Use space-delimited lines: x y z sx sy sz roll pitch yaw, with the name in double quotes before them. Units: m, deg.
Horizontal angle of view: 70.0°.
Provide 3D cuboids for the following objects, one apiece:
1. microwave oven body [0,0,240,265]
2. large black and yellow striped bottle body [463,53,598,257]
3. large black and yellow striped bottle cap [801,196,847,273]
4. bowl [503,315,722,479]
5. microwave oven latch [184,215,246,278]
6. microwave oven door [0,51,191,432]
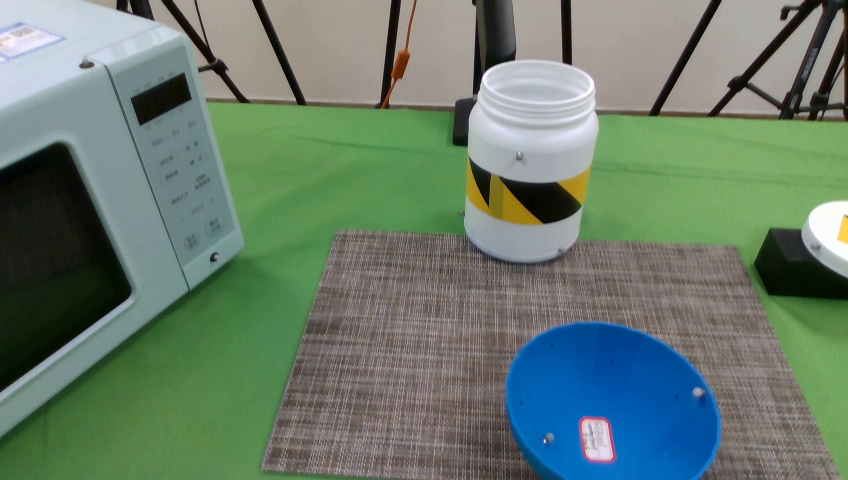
"microwave oven body" -0.442 -0.022 0.507 0.324 0.262 0.440 23 47 23
"large black and yellow striped bottle body" 0.109 -0.089 0.640 0.131 0.185 0.129 0 38 0
"large black and yellow striped bottle cap" 0.436 -0.003 0.595 0.115 0.019 0.114 -1 40 1
"bowl" 0.133 0.138 0.459 0.151 0.077 0.150 0 41 1
"microwave oven latch" -0.221 0.003 0.625 0.030 0.030 0.079 24 47 25
"microwave oven door" -0.341 0.048 0.419 0.039 0.246 0.355 22 46 24
